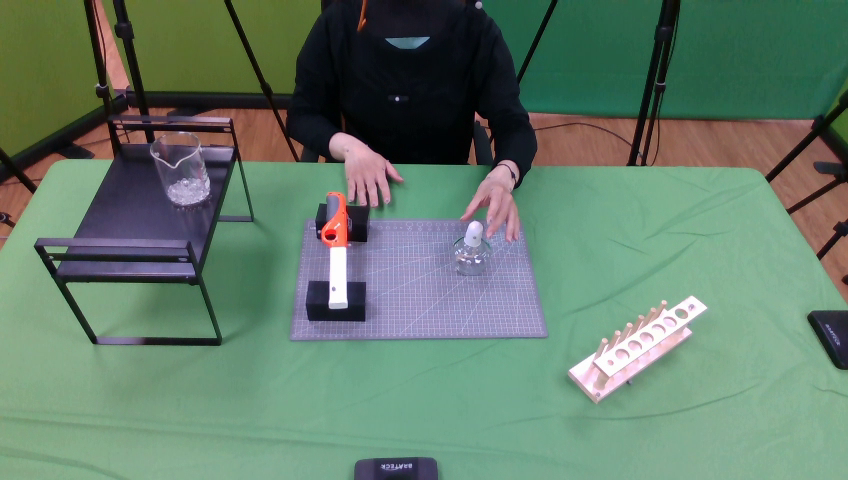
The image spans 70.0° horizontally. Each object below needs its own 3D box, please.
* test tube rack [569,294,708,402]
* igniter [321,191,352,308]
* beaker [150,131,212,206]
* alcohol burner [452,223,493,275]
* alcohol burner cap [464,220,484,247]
[{"bbox_3d":[0.360,0.167,1.014,0.242,0.085,0.066,-25,53,-25],"label":"test tube rack"},{"bbox_3d":[-0.159,0.008,1.101,0.057,0.025,0.274,-2,48,-7],"label":"igniter"},{"bbox_3d":[-0.385,-0.110,0.969,0.074,0.101,0.083,-6,48,-9],"label":"beaker"},{"bbox_3d":[0.092,0.008,1.124,0.078,0.119,0.077,2,48,-2],"label":"alcohol burner"},{"bbox_3d":[0.092,-0.015,1.098,0.034,0.048,0.033,5,42,-5],"label":"alcohol burner cap"}]
